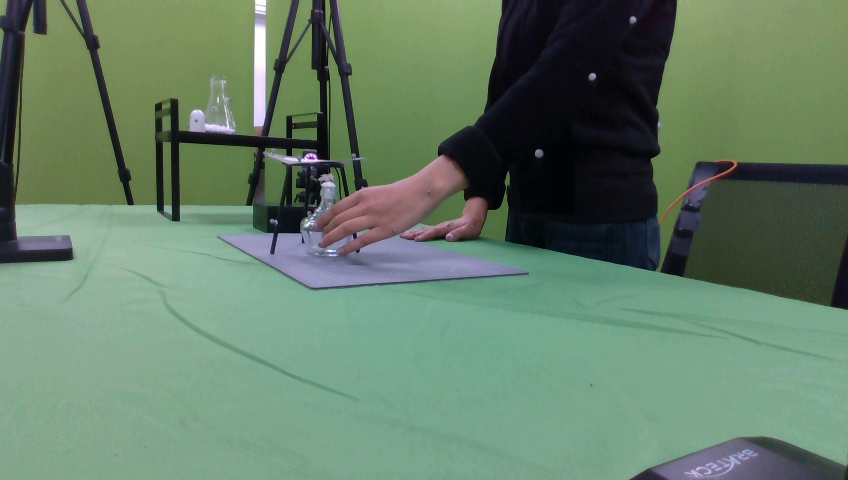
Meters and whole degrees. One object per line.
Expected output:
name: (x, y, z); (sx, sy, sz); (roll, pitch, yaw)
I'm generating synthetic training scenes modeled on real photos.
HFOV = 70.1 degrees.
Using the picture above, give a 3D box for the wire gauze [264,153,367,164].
wire gauze: (-0.160, -0.118, 0.888); (0.122, 0.011, 0.124); (-3, 10, -32)

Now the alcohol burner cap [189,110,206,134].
alcohol burner cap: (-0.464, -0.242, 1.240); (0.034, 0.048, 0.034); (3, 7, 0)

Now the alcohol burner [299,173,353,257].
alcohol burner: (-0.138, -0.036, 0.863); (0.078, 0.119, 0.078); (5, 7, 0)

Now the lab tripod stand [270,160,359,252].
lab tripod stand: (-0.167, -0.051, 0.892); (0.148, 0.131, 0.148); (4, 9, 0)

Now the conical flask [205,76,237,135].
conical flask: (-0.443, -0.290, 1.309); (0.075, 0.122, 0.075); (3, 7, 0)
